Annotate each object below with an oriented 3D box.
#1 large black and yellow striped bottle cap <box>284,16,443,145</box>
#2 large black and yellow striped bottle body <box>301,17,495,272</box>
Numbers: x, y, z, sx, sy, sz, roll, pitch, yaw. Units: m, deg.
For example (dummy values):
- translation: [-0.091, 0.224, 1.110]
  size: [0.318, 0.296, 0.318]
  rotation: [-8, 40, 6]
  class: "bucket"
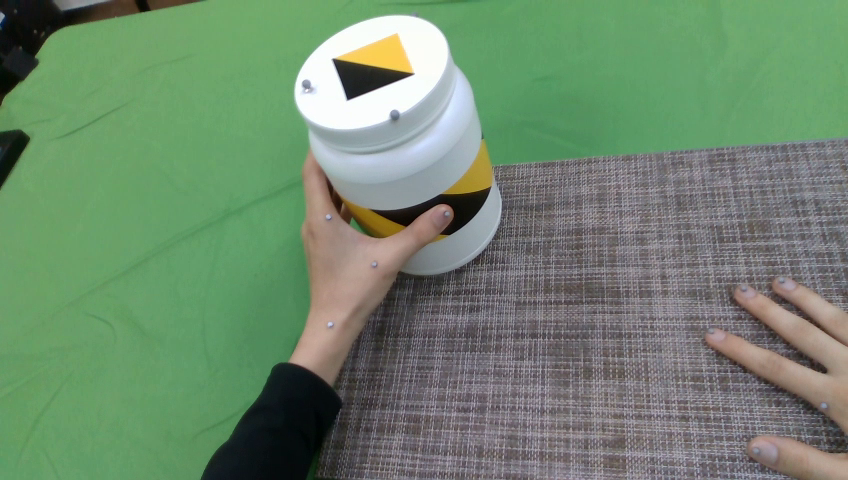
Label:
- translation: [-0.043, -0.116, 0.429]
  size: [0.115, 0.019, 0.114]
  rotation: [-8, 55, 11]
  class: "large black and yellow striped bottle cap"
- translation: [-0.020, -0.072, 0.496]
  size: [0.130, 0.186, 0.129]
  rotation: [-8, 56, 13]
  class: "large black and yellow striped bottle body"
